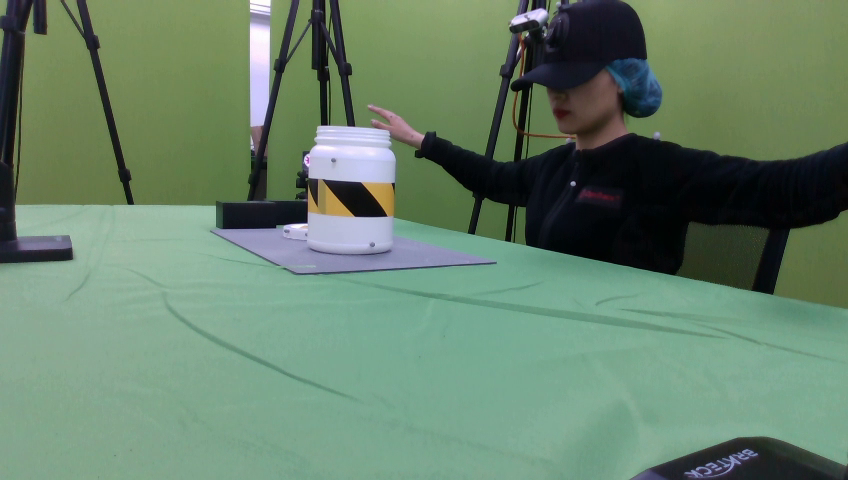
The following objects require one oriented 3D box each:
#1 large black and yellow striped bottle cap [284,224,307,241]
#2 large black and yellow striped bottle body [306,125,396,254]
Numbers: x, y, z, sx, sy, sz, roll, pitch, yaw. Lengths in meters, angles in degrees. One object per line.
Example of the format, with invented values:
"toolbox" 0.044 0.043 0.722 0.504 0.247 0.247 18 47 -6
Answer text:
"large black and yellow striped bottle cap" -0.186 -0.014 1.055 0.115 0.019 0.115 1 8 0
"large black and yellow striped bottle body" -0.109 -0.077 0.913 0.131 0.184 0.130 3 8 0
